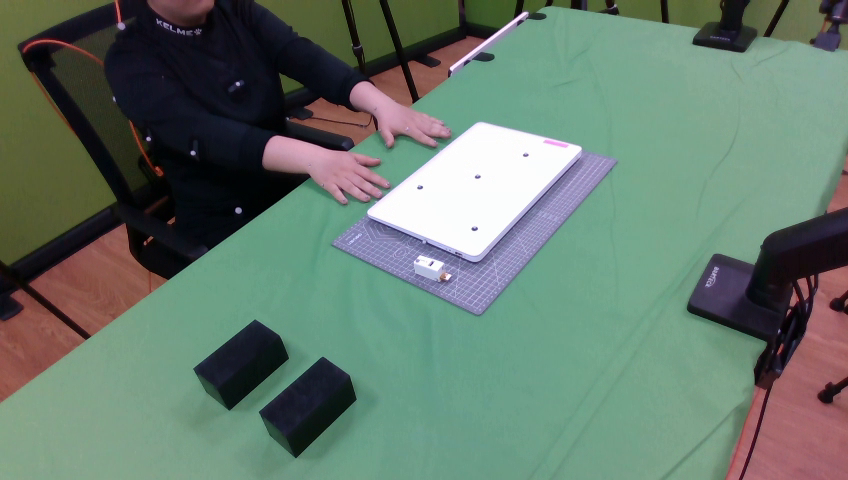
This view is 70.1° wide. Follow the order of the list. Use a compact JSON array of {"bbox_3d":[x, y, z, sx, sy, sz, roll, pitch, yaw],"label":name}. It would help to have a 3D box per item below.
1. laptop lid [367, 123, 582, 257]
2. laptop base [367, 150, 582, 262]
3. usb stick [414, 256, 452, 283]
[{"bbox_3d":[0.095,-0.106,1.066,0.239,0.013,0.358,23,48,34],"label":"laptop lid"},{"bbox_3d":[0.098,-0.097,1.071,0.233,0.023,0.355,20,47,33],"label":"laptop base"},{"bbox_3d":[0.015,0.046,0.906,0.059,0.027,0.021,21,48,25],"label":"usb stick"}]
